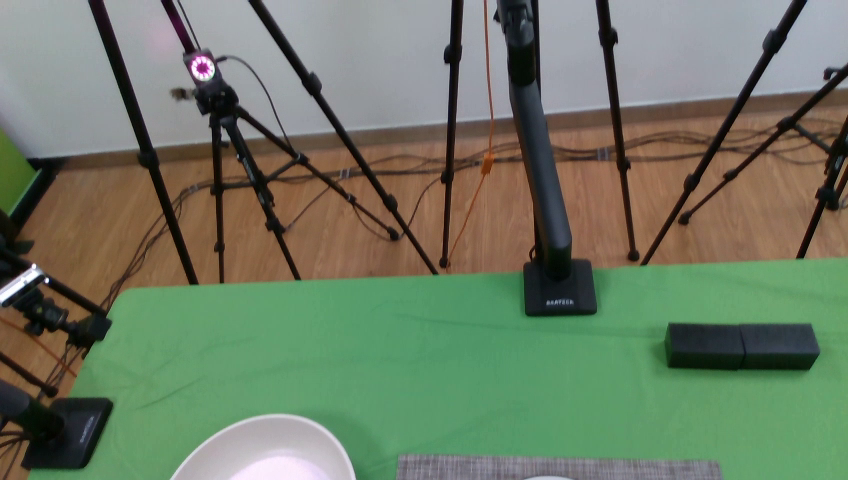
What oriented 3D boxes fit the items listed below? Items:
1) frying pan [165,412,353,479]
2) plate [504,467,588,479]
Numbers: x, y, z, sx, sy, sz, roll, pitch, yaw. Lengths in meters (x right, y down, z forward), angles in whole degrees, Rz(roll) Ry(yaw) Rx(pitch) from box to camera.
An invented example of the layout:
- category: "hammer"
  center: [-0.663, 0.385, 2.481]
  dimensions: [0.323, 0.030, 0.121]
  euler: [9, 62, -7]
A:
- category: "frying pan"
  center: [-0.231, 0.453, 0.762]
  dimensions: [0.306, 0.104, 0.483]
  euler: [-8, 40, 6]
- category: "plate"
  center: [0.160, 0.399, 0.770]
  dimensions: [0.207, 0.039, 0.205]
  euler: [-6, 48, 7]
